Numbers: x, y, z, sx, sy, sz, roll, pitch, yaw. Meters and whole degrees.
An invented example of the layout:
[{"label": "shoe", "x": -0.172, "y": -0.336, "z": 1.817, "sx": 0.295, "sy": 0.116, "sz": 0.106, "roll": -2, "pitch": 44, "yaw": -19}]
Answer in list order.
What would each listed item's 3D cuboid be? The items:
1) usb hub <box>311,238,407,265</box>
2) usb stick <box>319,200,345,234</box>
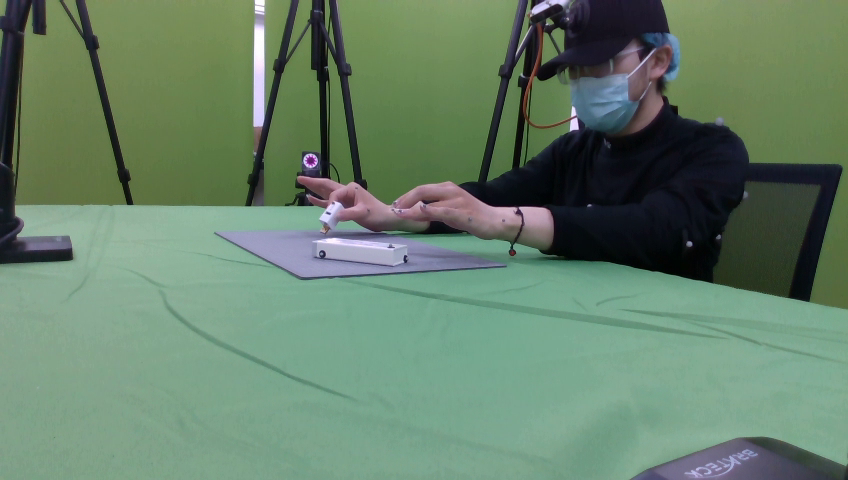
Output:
[{"label": "usb hub", "x": -0.089, "y": 0.014, "z": 0.828, "sx": 0.125, "sy": 0.025, "sz": 0.050, "roll": 5, "pitch": 8, "yaw": 21}, {"label": "usb stick", "x": -0.164, "y": -0.038, "z": 1.051, "sx": 0.021, "sy": 0.059, "sz": 0.027, "roll": 21, "pitch": -21, "yaw": 30}]
